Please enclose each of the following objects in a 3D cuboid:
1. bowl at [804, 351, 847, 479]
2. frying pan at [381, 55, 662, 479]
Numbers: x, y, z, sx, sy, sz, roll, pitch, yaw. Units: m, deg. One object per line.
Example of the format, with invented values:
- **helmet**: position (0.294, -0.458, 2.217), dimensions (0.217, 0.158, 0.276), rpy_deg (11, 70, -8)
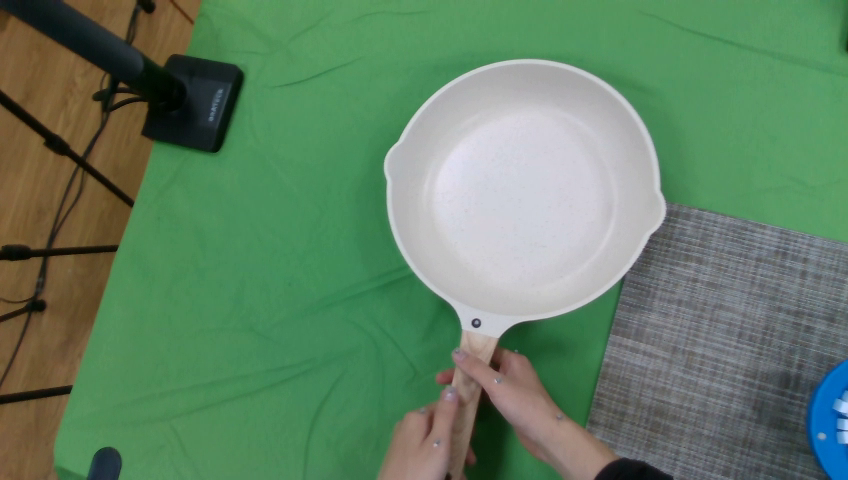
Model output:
- **bowl**: position (0.431, 0.172, 0.573), dimensions (0.151, 0.077, 0.151), rpy_deg (-2, 80, 11)
- **frying pan**: position (0.073, 0.037, 0.655), dimensions (0.306, 0.103, 0.485), rpy_deg (14, 75, 14)
